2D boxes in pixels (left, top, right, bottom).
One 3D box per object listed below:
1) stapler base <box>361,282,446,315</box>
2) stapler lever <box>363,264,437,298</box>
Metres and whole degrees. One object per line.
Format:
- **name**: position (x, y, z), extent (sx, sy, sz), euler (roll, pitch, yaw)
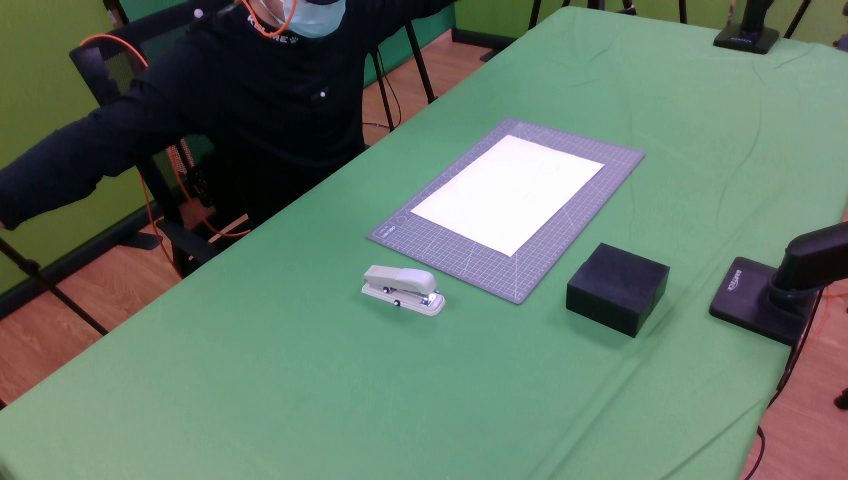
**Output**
- **stapler base**: position (-0.031, 0.073, 0.889), extent (0.130, 0.024, 0.041), euler (14, 42, 26)
- **stapler lever**: position (-0.036, 0.054, 0.873), extent (0.117, 0.040, 0.027), euler (14, 42, 26)
